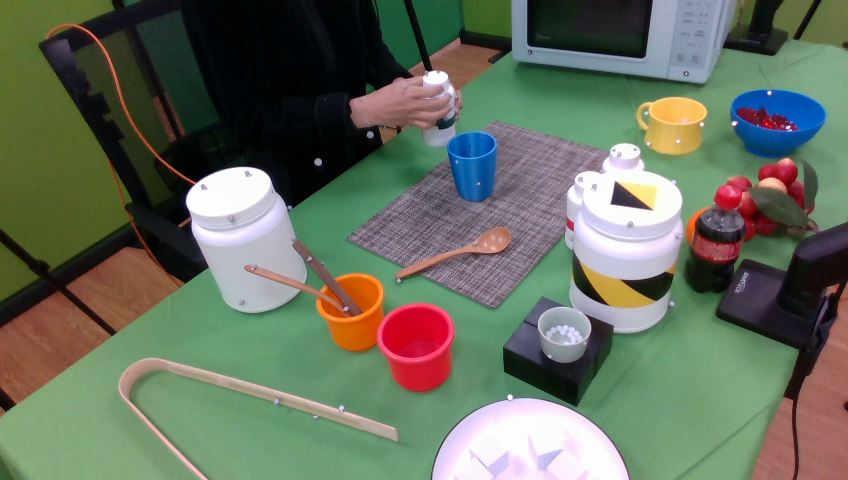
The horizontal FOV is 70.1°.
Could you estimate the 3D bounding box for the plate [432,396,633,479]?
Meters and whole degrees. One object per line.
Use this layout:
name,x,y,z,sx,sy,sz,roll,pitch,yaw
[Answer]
plate,0.112,0.261,0.634,0.209,0.038,0.208,-5,40,4

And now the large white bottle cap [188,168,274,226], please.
large white bottle cap,-0.264,-0.061,0.831,0.115,0.018,0.114,-4,40,4

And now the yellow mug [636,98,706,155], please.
yellow mug,0.453,-0.217,1.128,0.100,0.064,0.129,-34,46,-27

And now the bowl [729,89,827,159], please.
bowl,0.615,-0.197,1.069,0.151,0.077,0.150,-5,40,5

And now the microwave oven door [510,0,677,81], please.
microwave oven door,0.354,-0.478,1.290,0.353,0.245,0.039,15,45,25

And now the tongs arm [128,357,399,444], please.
tongs arm,-0.213,0.205,0.755,0.382,0.026,0.051,12,46,23

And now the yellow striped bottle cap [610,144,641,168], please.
yellow striped bottle cap,0.307,-0.128,0.923,0.044,0.019,0.044,-6,39,5

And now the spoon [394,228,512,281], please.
spoon,0.045,0.024,0.935,0.194,0.022,0.041,-18,66,-11

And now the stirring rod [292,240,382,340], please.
stirring rod,-0.119,0.068,0.826,0.176,0.006,0.014,49,58,-4

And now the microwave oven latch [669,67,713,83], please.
microwave oven latch,0.556,-0.348,1.261,0.078,0.029,0.030,16,46,27

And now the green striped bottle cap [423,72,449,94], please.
green striped bottle cap,0.021,-0.266,1.021,0.044,0.020,0.044,-3,45,4

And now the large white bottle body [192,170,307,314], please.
large white bottle body,-0.256,0.003,0.885,0.130,0.185,0.130,-4,40,4

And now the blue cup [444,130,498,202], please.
blue cup,0.087,-0.123,1.040,0.092,0.100,0.092,-5,42,5

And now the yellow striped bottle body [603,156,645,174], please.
yellow striped bottle body,0.313,-0.089,0.956,0.063,0.121,0.062,-5,40,4

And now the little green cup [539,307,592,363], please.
little green cup,0.168,0.115,0.721,0.061,0.039,0.061,-4,42,4

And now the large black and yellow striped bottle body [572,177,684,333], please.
large black and yellow striped bottle body,0.262,0.017,0.788,0.131,0.185,0.130,-5,40,4

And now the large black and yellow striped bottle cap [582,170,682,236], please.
large black and yellow striped bottle cap,0.252,-0.048,0.735,0.115,0.019,0.114,-3,40,3

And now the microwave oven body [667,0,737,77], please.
microwave oven body,0.462,-0.552,1.369,0.439,0.261,0.326,15,45,26

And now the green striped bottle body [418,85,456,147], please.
green striped bottle body,0.022,-0.227,1.057,0.063,0.120,0.063,-2,43,3

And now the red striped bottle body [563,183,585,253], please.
red striped bottle body,0.246,-0.041,0.910,0.063,0.120,0.062,-2,38,2

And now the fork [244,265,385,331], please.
fork,-0.142,0.078,0.806,0.209,0.018,0.028,30,32,-23

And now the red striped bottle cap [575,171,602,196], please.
red striped bottle cap,0.242,-0.081,0.876,0.044,0.018,0.044,-5,44,5

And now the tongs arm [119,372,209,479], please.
tongs arm,-0.258,0.257,0.700,0.384,0.028,0.028,24,55,34
